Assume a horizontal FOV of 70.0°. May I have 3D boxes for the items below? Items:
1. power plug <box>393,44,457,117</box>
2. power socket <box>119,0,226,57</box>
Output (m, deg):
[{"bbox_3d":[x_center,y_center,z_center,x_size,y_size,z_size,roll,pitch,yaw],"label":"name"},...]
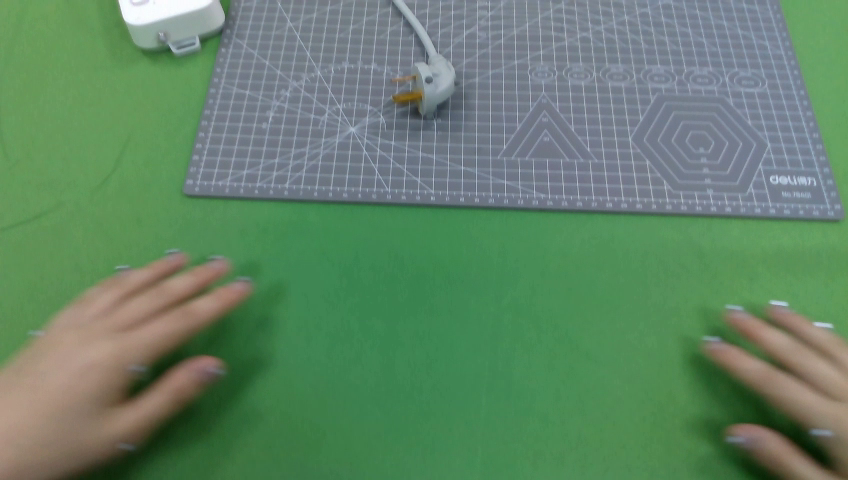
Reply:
[{"bbox_3d":[0.002,-0.111,0.411,0.035,0.072,0.053,-2,95,9],"label":"power plug"},{"bbox_3d":[-0.224,-0.243,0.502,0.072,0.033,0.224,-19,65,-12],"label":"power socket"}]
